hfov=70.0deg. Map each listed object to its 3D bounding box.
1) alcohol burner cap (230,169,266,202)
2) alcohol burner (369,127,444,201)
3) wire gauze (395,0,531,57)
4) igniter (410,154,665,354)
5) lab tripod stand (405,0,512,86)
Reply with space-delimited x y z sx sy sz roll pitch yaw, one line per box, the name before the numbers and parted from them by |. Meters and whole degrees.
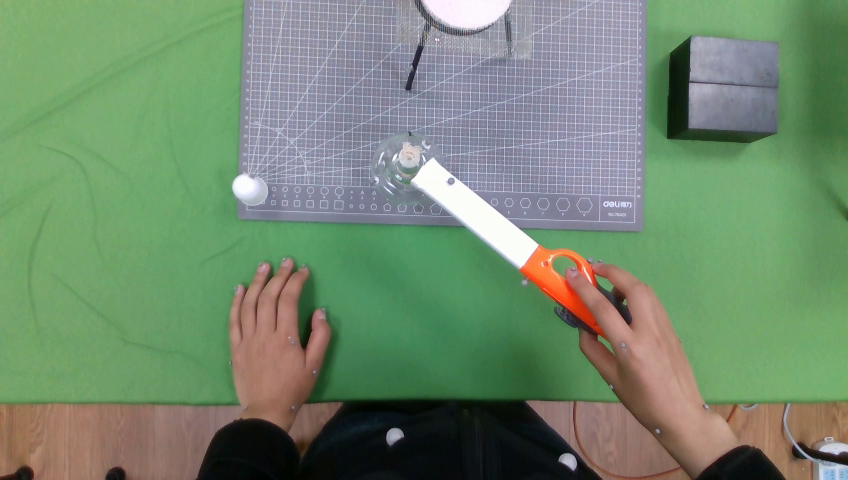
alcohol burner cap | -0.187 -0.059 0.635 0.034 0.048 0.034 0 85 -5
alcohol burner | -0.018 -0.080 0.613 0.078 0.119 0.078 0 89 -2
wire gauze | 0.038 -0.231 0.544 0.125 0.011 0.121 4 87 -3
igniter | 0.105 0.017 0.556 0.277 0.025 0.057 38 84 -2
lab tripod stand | 0.028 -0.232 0.611 0.148 0.131 0.148 0 87 -2
